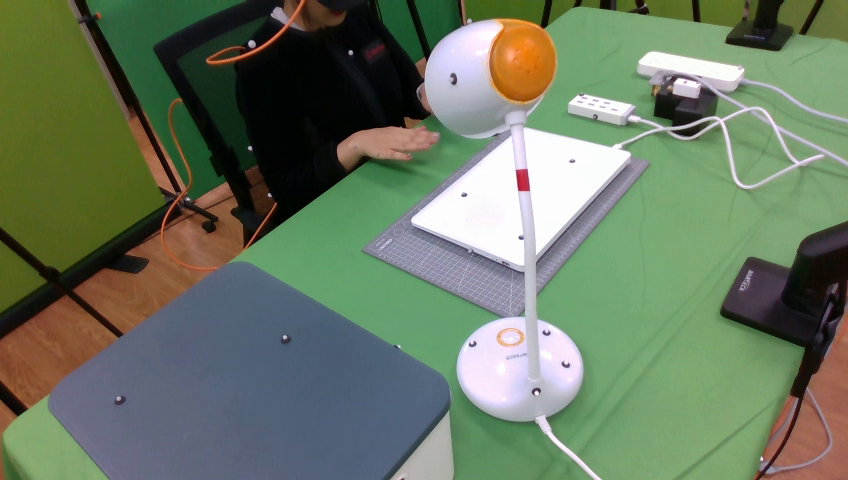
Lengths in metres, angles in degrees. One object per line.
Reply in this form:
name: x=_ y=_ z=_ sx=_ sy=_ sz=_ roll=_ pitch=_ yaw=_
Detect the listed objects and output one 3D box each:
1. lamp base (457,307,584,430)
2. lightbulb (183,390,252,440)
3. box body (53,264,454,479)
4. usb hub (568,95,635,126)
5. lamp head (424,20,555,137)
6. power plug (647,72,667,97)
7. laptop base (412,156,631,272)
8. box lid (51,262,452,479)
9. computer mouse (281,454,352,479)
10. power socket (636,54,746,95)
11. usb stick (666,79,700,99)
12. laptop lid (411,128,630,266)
lamp base: x=0.115 y=0.108 z=0.713 sx=0.161 sy=0.181 sz=0.178 roll=-17 pitch=43 yaw=-8
lightbulb: x=-0.262 y=0.217 z=0.753 sx=0.107 sy=0.060 sz=0.059 roll=-10 pitch=35 yaw=32
box body: x=-0.173 y=0.212 z=0.659 sx=0.361 sy=0.161 sz=0.255 roll=23 pitch=50 yaw=33
usb hub: x=0.360 y=-0.264 z=1.228 sx=0.124 sy=0.025 sz=0.049 roll=24 pitch=49 yaw=34
lamp head: x=0.069 y=-0.153 z=0.572 sx=0.113 sy=0.112 sz=0.122 roll=-22 pitch=16 yaw=-14
power plug: x=0.494 y=-0.320 z=1.260 sx=0.073 sy=0.052 sz=0.035 roll=2 pitch=19 yaw=-41
laptop base: x=0.176 y=-0.084 z=1.055 sx=0.233 sy=0.023 sz=0.355 roll=21 pitch=48 yaw=36
box lid: x=-0.182 y=0.156 z=0.610 sx=0.368 sy=0.015 sz=0.264 roll=23 pitch=49 yaw=34
computer mouse: x=-0.110 y=0.278 z=0.656 sx=0.116 sy=0.041 sz=0.063 roll=20 pitch=51 yaw=36
power socket: x=0.564 y=-0.357 z=1.293 sx=0.225 sy=0.033 sz=0.072 roll=24 pitch=51 yaw=33
usb stick: x=0.492 y=-0.288 z=1.152 sx=0.058 sy=0.027 sz=0.021 roll=20 pitch=50 yaw=34
laptop lid: x=0.172 y=-0.093 z=1.049 sx=0.239 sy=0.013 sz=0.358 roll=23 pitch=49 yaw=36
